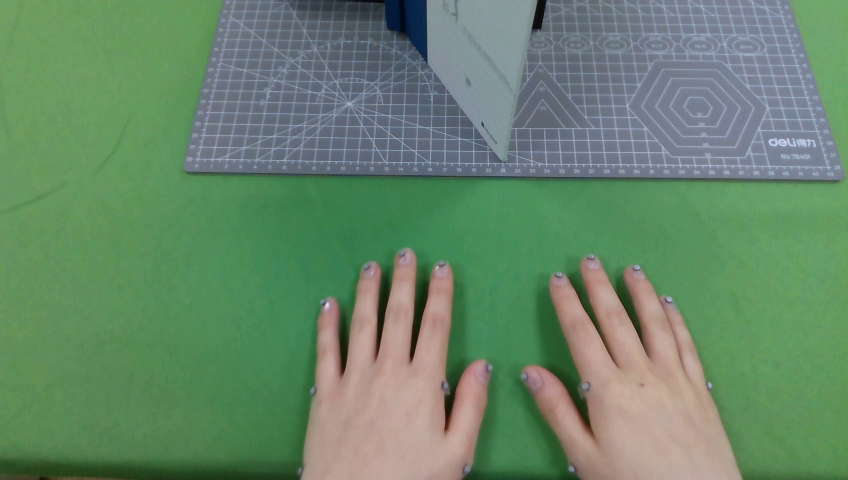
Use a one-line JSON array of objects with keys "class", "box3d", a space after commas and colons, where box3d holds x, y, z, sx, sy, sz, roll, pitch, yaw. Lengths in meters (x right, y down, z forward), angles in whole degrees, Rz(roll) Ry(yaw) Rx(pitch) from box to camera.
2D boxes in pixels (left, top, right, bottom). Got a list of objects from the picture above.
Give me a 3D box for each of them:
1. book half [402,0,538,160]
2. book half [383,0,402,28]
[{"class": "book half", "box3d": [0.019, -0.155, 0.348, 0.007, 0.211, 0.142, -27, 67, -13]}, {"class": "book half", "box3d": [-0.010, -0.273, 0.405, 0.016, 0.212, 0.147, 10, 64, 6]}]
